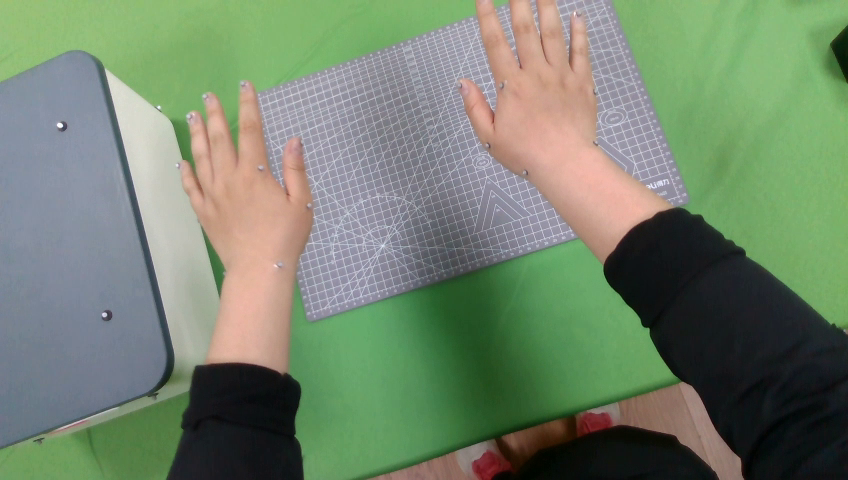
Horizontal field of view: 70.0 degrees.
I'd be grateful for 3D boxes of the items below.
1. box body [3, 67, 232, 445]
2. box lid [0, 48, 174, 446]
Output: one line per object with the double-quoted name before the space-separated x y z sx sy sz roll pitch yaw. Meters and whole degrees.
"box body" -0.394 0.020 0.679 0.254 0.161 0.362 -21 78 5
"box lid" -0.406 0.004 0.607 0.263 0.015 0.369 -21 79 5
